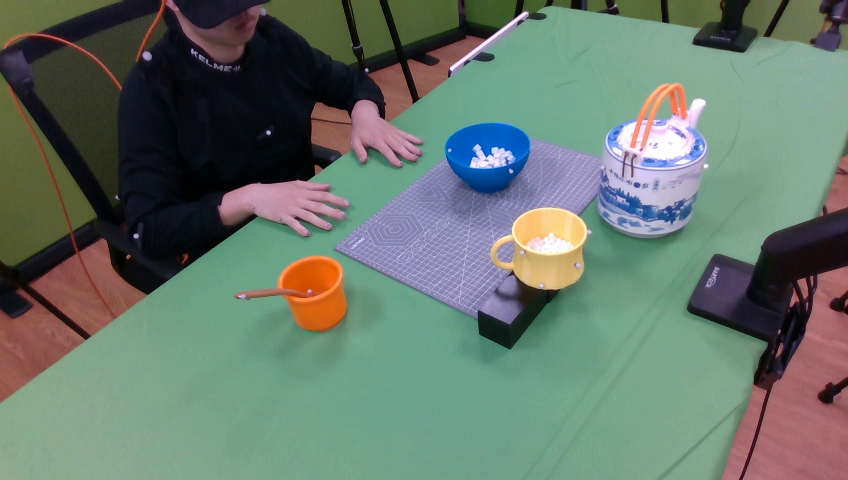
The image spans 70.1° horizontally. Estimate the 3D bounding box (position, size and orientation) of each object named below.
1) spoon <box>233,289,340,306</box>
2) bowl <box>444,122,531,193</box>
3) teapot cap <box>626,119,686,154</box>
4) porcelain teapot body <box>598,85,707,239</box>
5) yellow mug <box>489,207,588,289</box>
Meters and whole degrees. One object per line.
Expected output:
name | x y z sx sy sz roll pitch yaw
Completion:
spoon | -0.180 0.075 0.811 0.041 0.195 0.021 18 91 31
bowl | 0.113 -0.136 1.063 0.151 0.077 0.150 -4 41 4
teapot cap | 0.338 -0.153 0.882 0.085 0.044 0.085 -3 38 3
porcelain teapot body | 0.363 -0.137 0.921 0.144 0.226 0.206 29 51 36
yellow mug | 0.154 0.013 0.820 0.131 0.064 0.099 -8 40 0
